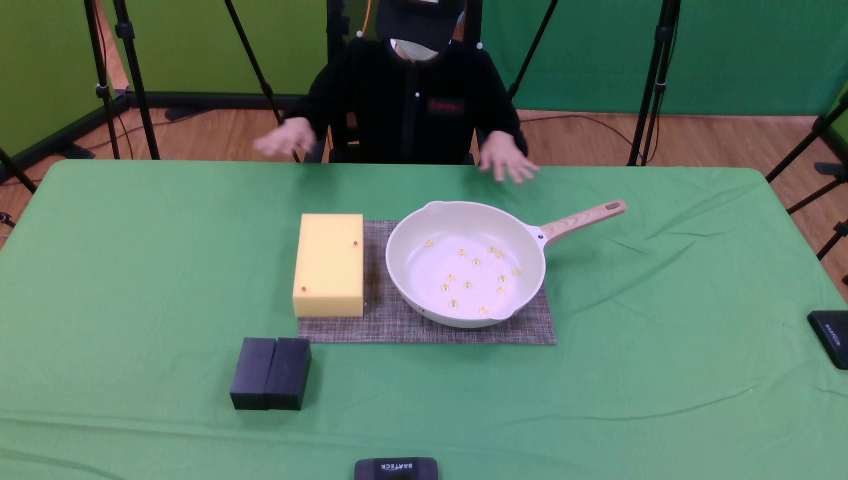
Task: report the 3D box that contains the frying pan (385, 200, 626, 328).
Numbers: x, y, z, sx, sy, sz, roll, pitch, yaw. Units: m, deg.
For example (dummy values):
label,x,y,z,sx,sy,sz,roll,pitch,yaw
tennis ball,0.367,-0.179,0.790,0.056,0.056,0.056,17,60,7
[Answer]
label,x,y,z,sx,sy,sz,roll,pitch,yaw
frying pan,0.169,0.014,1.137,0.488,0.103,0.304,-19,51,-11

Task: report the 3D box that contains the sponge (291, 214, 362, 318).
label,x,y,z,sx,sy,sz,roll,pitch,yaw
sponge,-0.173,0.044,1.112,0.118,0.061,0.205,-1,46,-5
